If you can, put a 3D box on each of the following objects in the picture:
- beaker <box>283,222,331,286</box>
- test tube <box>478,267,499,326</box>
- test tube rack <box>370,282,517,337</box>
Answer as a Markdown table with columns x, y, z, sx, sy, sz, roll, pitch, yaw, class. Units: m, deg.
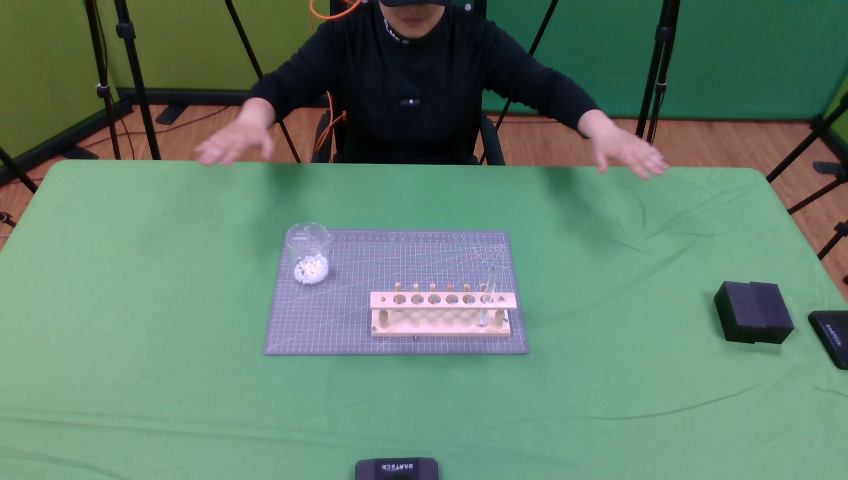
| x | y | z | sx | sy | sz | roll | pitch | yaw | class |
| --- | --- | --- | --- | --- | --- | --- | --- | --- | --- |
| -0.208 | 0.028 | 1.098 | 0.084 | 0.101 | 0.073 | 2 | 46 | -4 | beaker |
| 0.105 | 0.096 | 0.997 | 0.017 | 0.151 | 0.017 | 2 | 49 | -2 | test tube |
| 0.030 | 0.116 | 1.041 | 0.242 | 0.085 | 0.066 | 1 | 46 | -4 | test tube rack |
